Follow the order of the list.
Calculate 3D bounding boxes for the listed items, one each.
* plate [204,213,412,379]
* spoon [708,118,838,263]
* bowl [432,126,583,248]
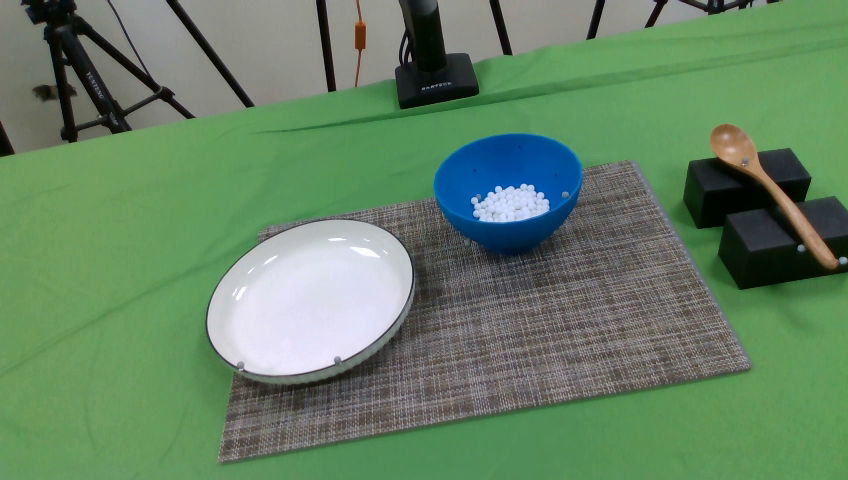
[{"bbox_3d":[-0.112,0.056,0.607,0.207,0.039,0.205,-7,43,7],"label":"plate"},{"bbox_3d":[0.319,-0.052,0.560,0.041,0.022,0.191,-12,44,1],"label":"spoon"},{"bbox_3d":[0.088,-0.044,0.632,0.151,0.077,0.150,-7,43,7],"label":"bowl"}]
